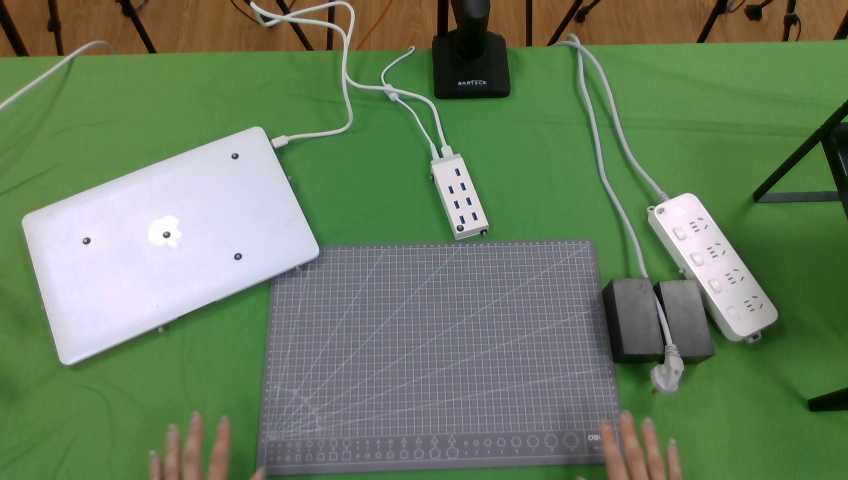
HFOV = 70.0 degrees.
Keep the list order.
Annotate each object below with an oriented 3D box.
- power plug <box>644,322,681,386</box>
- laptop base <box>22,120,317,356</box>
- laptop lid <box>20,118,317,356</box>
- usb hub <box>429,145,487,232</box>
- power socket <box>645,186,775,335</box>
[{"bbox_3d":[0.297,0.147,0.754,0.035,0.053,0.072,28,49,-7],"label":"power plug"},{"bbox_3d":[-0.351,-0.014,0.841,0.354,0.023,0.234,-24,72,-11],"label":"laptop base"},{"bbox_3d":[-0.350,-0.017,0.829,0.357,0.013,0.240,-23,71,-10],"label":"laptop lid"},{"bbox_3d":[0.046,-0.075,0.870,0.049,0.025,0.124,-16,68,-7],"label":"usb hub"},{"bbox_3d":[0.389,0.024,0.830,0.072,0.033,0.225,-22,69,-11],"label":"power socket"}]
